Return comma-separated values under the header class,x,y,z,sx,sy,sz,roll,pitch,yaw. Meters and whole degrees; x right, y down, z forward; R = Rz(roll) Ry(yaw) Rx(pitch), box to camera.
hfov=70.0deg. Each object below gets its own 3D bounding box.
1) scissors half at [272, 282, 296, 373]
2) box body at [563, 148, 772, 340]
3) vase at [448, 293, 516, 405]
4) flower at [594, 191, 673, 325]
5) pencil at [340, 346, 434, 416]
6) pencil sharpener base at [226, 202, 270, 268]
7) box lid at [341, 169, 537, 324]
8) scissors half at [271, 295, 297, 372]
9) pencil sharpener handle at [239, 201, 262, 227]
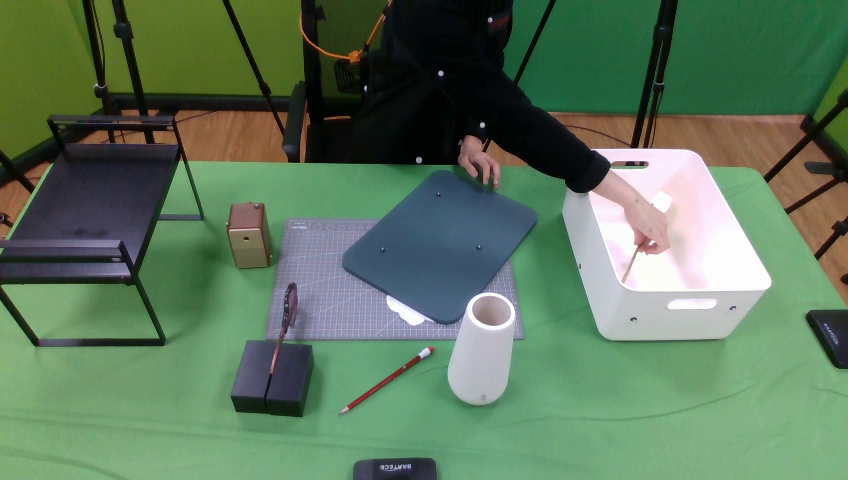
class,x,y,z,sx,sy,sz,roll,pitch,yaw
scissors half,-0.229,0.139,0.986,0.013,0.040,0.174,4,51,-3
box body,0.421,0.003,1.130,0.254,0.161,0.361,0,46,-5
vase,0.091,0.169,0.921,0.098,0.201,0.097,3,47,-3
flower,0.397,0.028,1.152,0.044,0.038,0.361,-12,32,52
pencil,-0.058,0.227,0.984,0.194,0.012,0.012,-32,56,-28
pencil sharpener base,-0.323,-0.010,1.123,0.061,0.107,0.076,-3,46,-7
box lid,0.038,-0.004,1.210,0.262,0.015,0.371,27,49,21
scissors half,-0.230,0.154,1.000,0.013,0.040,0.174,1,34,1
pencil sharpener handle,-0.325,-0.056,1.150,0.036,0.068,0.030,-13,46,4
